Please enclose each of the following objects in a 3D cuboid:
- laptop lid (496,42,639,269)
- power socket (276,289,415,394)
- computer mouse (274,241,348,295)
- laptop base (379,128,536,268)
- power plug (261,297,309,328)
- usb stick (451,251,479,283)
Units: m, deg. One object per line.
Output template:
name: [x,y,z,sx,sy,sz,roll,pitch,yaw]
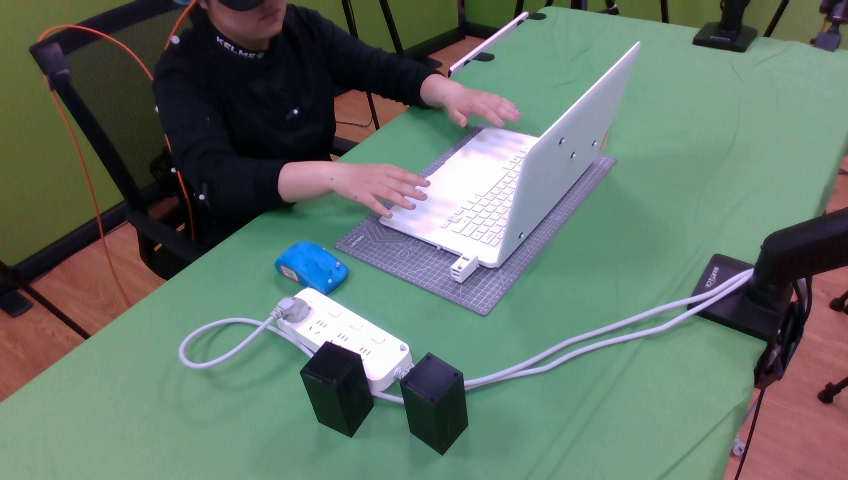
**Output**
laptop lid: [0.220,-0.130,0.913,0.013,0.242,0.357,31,51,21]
power socket: [-0.113,0.133,0.820,0.225,0.033,0.072,25,50,33]
computer mouse: [-0.175,0.040,0.936,0.116,0.041,0.063,27,48,27]
laptop base: [0.118,-0.088,1.059,0.233,0.023,0.355,19,47,33]
power plug: [-0.192,0.107,0.831,0.073,0.053,0.035,-32,43,-25]
usb stick: [0.065,0.036,0.899,0.021,0.027,0.059,23,45,32]
